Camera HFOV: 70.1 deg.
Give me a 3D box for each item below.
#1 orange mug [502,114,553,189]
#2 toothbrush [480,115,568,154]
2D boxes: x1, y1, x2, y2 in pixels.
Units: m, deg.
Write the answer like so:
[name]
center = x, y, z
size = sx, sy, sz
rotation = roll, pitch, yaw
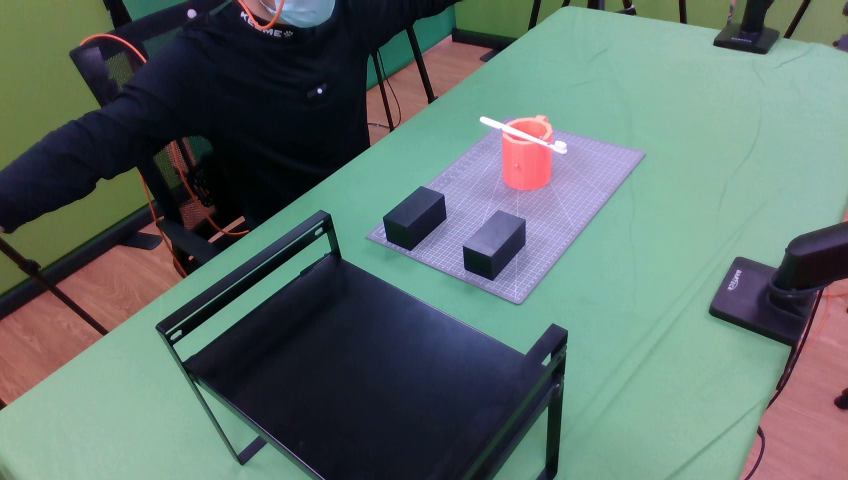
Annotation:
[orange mug]
center = 0.190, -0.164, 1.071
size = 0.083, 0.101, 0.126
rotation = 16, 50, 25
[toothbrush]
center = 0.165, -0.181, 1.014
size = 0.180, 0.017, 0.014
rotation = 30, 56, 35
